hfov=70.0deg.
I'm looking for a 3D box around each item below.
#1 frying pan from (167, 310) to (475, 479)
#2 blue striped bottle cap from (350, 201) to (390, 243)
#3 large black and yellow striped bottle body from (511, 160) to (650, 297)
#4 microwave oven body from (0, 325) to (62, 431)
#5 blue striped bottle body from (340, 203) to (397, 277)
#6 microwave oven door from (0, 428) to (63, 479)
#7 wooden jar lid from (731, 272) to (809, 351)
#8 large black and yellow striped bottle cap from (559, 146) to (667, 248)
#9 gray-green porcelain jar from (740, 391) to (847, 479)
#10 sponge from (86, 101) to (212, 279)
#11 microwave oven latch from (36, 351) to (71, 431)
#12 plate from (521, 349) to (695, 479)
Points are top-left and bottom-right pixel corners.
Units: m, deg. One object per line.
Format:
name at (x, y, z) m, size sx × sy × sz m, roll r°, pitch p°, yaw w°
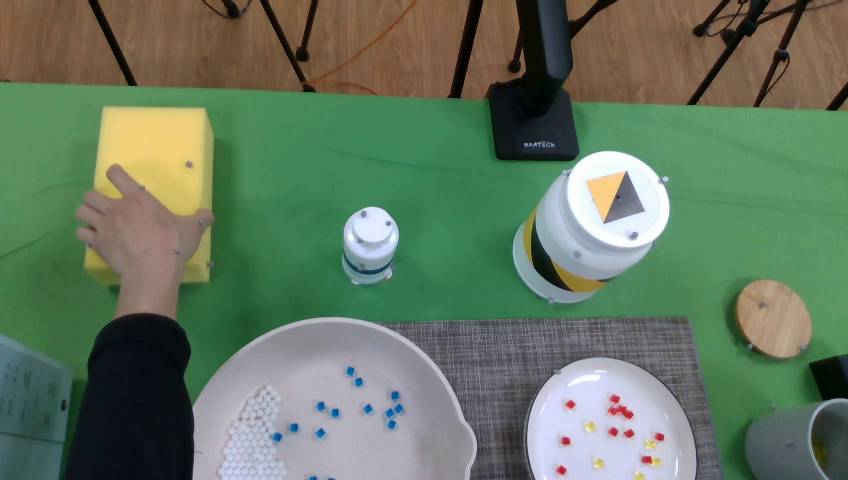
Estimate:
frying pan at (-0.092, 0.313, 0.593) m, size 0.307 × 0.103 × 0.483 m, roll -2°, pitch 62°, yaw -8°
blue striped bottle cap at (-0.058, -0.020, 0.662) m, size 0.045 × 0.021 × 0.044 m, roll 3°, pitch 66°, yaw -7°
large black and yellow striped bottle body at (0.189, -0.017, 0.725) m, size 0.131 × 0.185 × 0.130 m, roll 3°, pitch 68°, yaw -8°
microwave oven body at (-0.507, 0.285, 0.447) m, size 0.327 × 0.261 × 0.438 m, roll 0°, pitch 70°, yaw -10°
blue striped bottle body at (-0.066, -0.003, 0.710) m, size 0.063 × 0.121 × 0.062 m, roll 3°, pitch 69°, yaw -8°
microwave oven door at (-0.359, 0.323, 0.453) m, size 0.039 × 0.245 × 0.353 m, roll 0°, pitch 69°, yaw -9°
wooden jar lid at (0.463, 0.097, 0.818) m, size 0.108 × 0.021 × 0.107 m, roll 3°, pitch 71°, yaw -8°
large black and yellow striped bottle cap at (0.202, -0.048, 0.646) m, size 0.115 × 0.019 × 0.114 m, roll 3°, pitch 68°, yaw -8°
gray-green porcelain jar at (0.446, 0.237, 0.705) m, size 0.106 × 0.127 × 0.105 m, roll 3°, pitch 69°, yaw -8°
sponge at (-0.318, -0.061, 0.716) m, size 0.118 × 0.061 × 0.205 m, roll -4°, pitch 69°, yaw -10°
microwave oven latch at (-0.384, 0.155, 0.621) m, size 0.030 × 0.029 × 0.078 m, roll 2°, pitch 70°, yaw -9°
plate at (0.211, 0.233, 0.710) m, size 0.209 × 0.038 × 0.207 m, roll 3°, pitch 70°, yaw -8°
